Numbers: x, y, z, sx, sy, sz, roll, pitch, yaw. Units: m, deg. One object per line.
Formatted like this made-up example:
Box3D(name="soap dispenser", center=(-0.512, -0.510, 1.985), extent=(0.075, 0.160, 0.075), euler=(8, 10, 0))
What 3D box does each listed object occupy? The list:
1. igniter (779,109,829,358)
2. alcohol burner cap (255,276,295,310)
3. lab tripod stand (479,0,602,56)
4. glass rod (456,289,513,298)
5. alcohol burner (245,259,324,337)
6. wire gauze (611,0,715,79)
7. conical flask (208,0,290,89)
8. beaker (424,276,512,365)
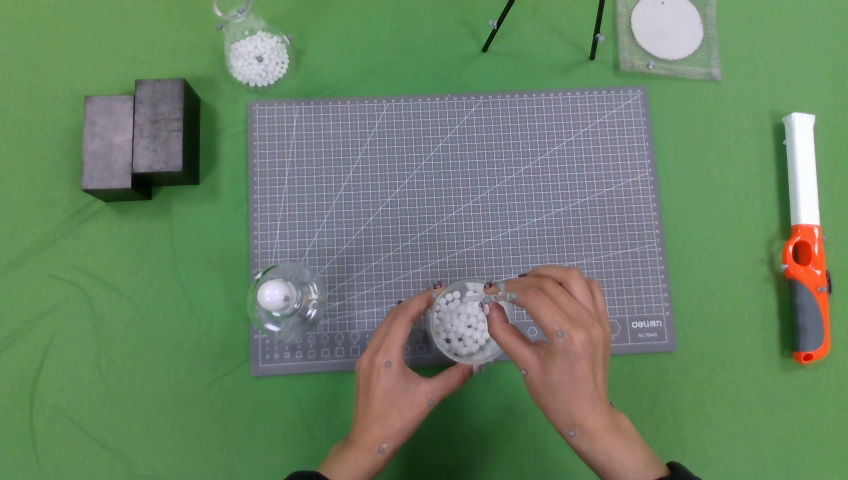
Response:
Box3D(name="igniter", center=(0.415, -0.010, 0.665), extent=(0.057, 0.025, 0.275), euler=(4, 81, -12))
Box3D(name="alcohol burner cap", center=(-0.137, 0.048, 0.550), extent=(0.034, 0.048, 0.034), euler=(1, 84, -6))
Box3D(name="lab tripod stand", center=(0.131, -0.262, 0.640), extent=(0.148, 0.132, 0.148), euler=(0, 83, -2))
Box3D(name="glass rod", center=(0.047, 0.046, 0.520), extent=(0.008, 0.199, 0.008), euler=(1, 84, -7))
Box3D(name="alcohol burner", center=(-0.138, 0.055, 0.586), extent=(0.078, 0.119, 0.077), euler=(0, 80, 0))
Box3D(name="wire gauze", center=(0.280, -0.251, 0.708), extent=(0.125, 0.011, 0.121), euler=(3, 81, -4))
Box3D(name="conical flask", center=(-0.185, -0.213, 0.624), extent=(0.075, 0.122, 0.075), euler=(0, 80, -2))
Box3D(name="beaker", center=(0.039, 0.072, 0.570), extent=(0.074, 0.100, 0.084), euler=(41, 81, 2))
